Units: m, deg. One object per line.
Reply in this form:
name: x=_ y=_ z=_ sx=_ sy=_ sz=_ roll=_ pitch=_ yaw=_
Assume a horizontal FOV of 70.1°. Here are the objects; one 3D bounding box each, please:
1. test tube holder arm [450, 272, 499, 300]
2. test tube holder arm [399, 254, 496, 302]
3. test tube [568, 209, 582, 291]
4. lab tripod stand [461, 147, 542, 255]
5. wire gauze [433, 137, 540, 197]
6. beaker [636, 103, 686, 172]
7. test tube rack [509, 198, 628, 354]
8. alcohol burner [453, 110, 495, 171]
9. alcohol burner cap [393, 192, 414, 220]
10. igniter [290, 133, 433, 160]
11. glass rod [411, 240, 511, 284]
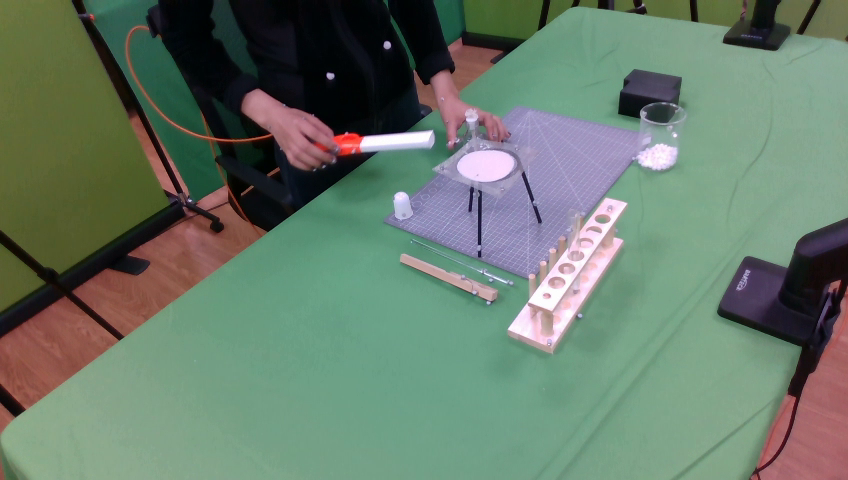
test tube holder arm: x=0.071 y=0.068 z=0.895 sx=0.087 sy=0.015 sz=0.010 roll=21 pitch=15 yaw=32
test tube holder arm: x=0.032 y=0.055 z=0.914 sx=0.177 sy=0.015 sz=0.013 roll=21 pitch=15 yaw=32
test tube: x=0.200 y=0.017 z=0.799 sx=0.017 sy=0.151 sz=0.017 roll=-8 pitch=45 yaw=8
lab tripod stand: x=0.114 y=-0.069 z=0.953 sx=0.148 sy=0.132 sz=0.147 roll=-5 pitch=38 yaw=4
wire gauze: x=0.094 y=-0.116 z=0.907 sx=0.124 sy=0.011 sz=0.122 roll=21 pitch=47 yaw=30
beaker: x=0.413 y=-0.177 z=1.055 sx=0.084 sy=0.101 sz=0.073 roll=-28 pitch=44 yaw=-21
test tube rack: x=0.206 y=0.039 z=0.850 sx=0.066 sy=0.085 sz=0.243 roll=20 pitch=48 yaw=31
alcohol burner: x=0.091 y=-0.187 z=1.112 sx=0.078 sy=0.119 sz=0.077 roll=-4 pitch=41 yaw=4
alcohol burner cap: x=-0.038 y=-0.061 z=1.043 sx=0.034 sy=0.048 sz=0.033 roll=-6 pitch=41 yaw=5
igniter: x=-0.115 y=-0.160 z=1.037 sx=0.275 sy=0.025 sz=0.057 roll=1 pitch=44 yaw=24
glass rod: x=0.053 y=0.033 z=0.946 sx=0.198 sy=0.008 sz=0.008 roll=22 pitch=50 yaw=36
